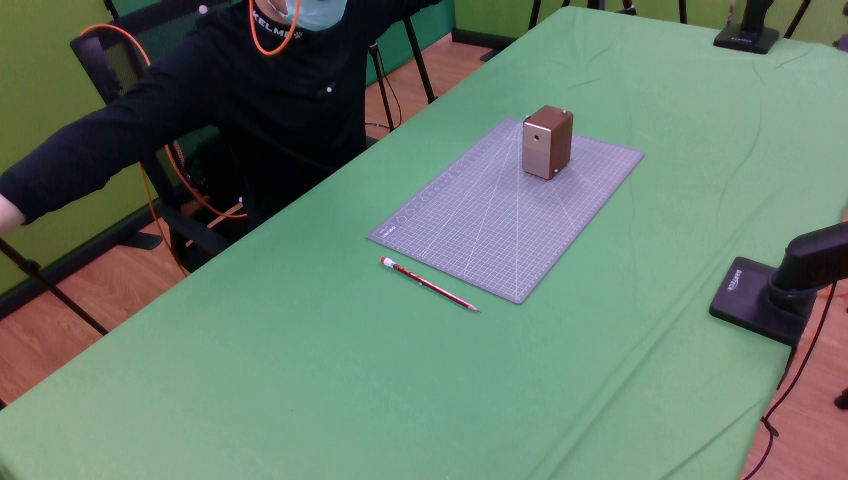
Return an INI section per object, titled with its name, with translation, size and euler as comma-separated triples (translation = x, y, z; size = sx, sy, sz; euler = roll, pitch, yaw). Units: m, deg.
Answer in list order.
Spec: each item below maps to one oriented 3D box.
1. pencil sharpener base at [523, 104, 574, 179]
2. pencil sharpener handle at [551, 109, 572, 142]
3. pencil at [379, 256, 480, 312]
[pencil sharpener base]
translation = 0.220, -0.175, 1.071
size = 0.061, 0.107, 0.077
euler = 26, 50, 33
[pencil sharpener handle]
translation = 0.253, -0.212, 1.090
size = 0.035, 0.068, 0.031
euler = 22, 48, 36
[pencil]
translation = 0.005, 0.066, 0.901
size = 0.192, 0.012, 0.012
euler = 26, 50, 31
